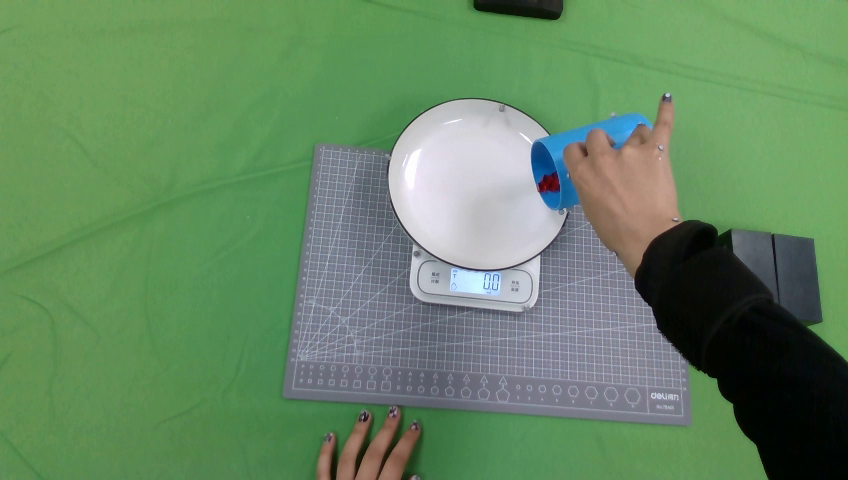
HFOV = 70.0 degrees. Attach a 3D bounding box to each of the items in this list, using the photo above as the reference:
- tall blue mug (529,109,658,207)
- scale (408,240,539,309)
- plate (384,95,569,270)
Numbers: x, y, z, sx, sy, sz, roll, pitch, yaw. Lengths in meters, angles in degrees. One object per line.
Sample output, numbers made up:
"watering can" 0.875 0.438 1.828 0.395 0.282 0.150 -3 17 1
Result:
"tall blue mug" 0.173 -0.091 0.613 0.108 0.108 0.077 -16 64 -7
"scale" 0.063 -0.025 0.705 0.149 0.032 0.199 7 73 -4
"plate" 0.059 -0.063 0.682 0.209 0.038 0.208 2 73 -7
